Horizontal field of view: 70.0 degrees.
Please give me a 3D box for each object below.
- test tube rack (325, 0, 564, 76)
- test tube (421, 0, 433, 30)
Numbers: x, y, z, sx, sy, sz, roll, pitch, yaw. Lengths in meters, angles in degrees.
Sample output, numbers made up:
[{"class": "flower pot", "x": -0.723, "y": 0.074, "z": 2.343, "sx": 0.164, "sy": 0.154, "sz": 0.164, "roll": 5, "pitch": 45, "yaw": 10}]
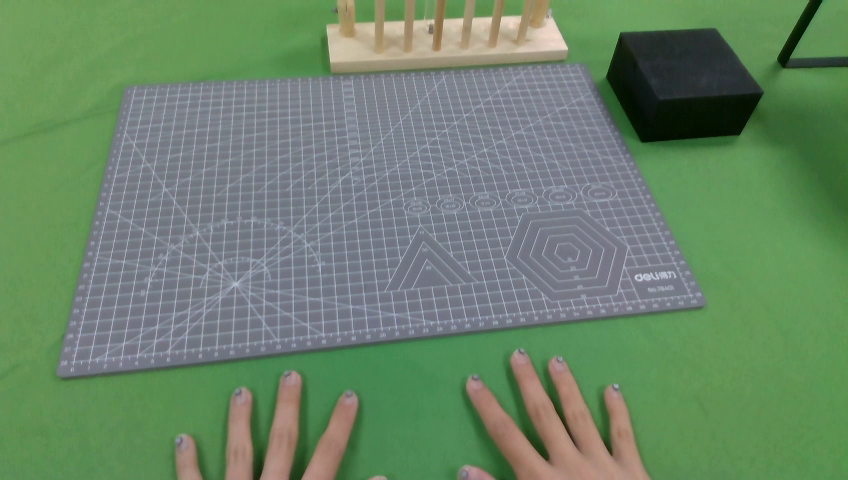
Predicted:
[{"class": "test tube rack", "x": 0.022, "y": -0.226, "z": 0.604, "sx": 0.243, "sy": 0.086, "sz": 0.066, "roll": -6, "pitch": 52, "yaw": -8}, {"class": "test tube", "x": 0.005, "y": -0.270, "z": 0.574, "sx": 0.017, "sy": 0.151, "sz": 0.017, "roll": 0, "pitch": 49, "yaw": 0}]
